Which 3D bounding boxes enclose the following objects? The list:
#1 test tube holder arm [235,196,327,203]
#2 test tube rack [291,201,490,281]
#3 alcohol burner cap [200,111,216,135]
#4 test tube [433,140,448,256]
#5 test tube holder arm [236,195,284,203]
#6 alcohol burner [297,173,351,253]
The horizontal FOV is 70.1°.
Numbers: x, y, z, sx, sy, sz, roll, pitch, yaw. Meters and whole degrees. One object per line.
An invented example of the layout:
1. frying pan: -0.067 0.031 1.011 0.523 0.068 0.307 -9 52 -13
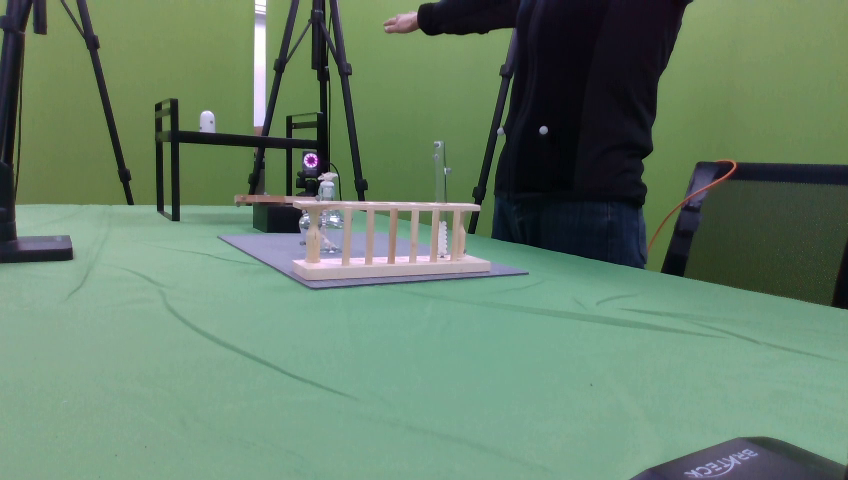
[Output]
1. test tube holder arm: -0.270 -0.077 1.153 0.179 0.015 0.013 -2 4 -34
2. test tube rack: -0.035 -0.002 0.745 0.243 0.085 0.066 -1 8 -28
3. alcohol burner cap: -0.448 -0.243 1.255 0.034 0.048 0.034 2 6 0
4. test tube: 0.021 -0.054 0.785 0.017 0.150 0.017 -2 8 1
5. test tube holder arm: -0.304 -0.075 1.123 0.088 0.015 0.010 -2 4 -33
6. alcohol burner: -0.146 -0.040 0.894 0.078 0.119 0.078 5 7 0
